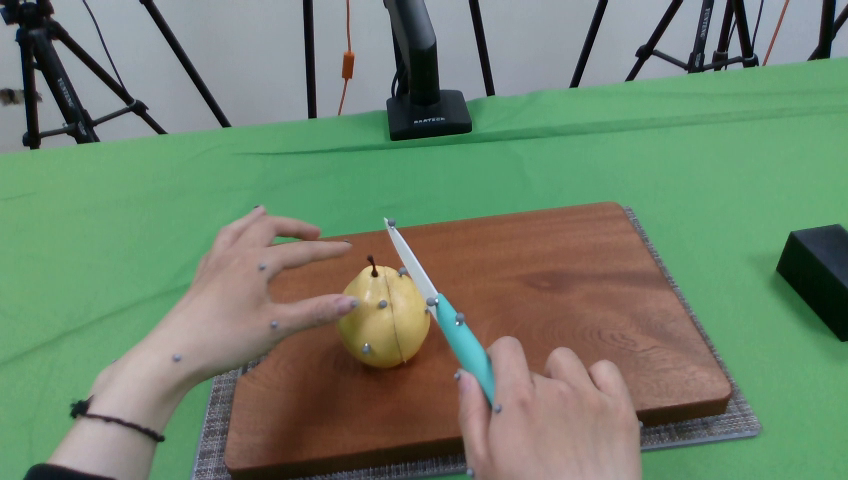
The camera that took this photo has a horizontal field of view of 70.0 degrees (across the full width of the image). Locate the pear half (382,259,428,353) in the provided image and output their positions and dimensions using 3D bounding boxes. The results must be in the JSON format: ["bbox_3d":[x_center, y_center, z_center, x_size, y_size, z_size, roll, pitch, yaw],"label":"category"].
[{"bbox_3d":[-0.014,0.052,0.507,0.031,0.089,0.069,-11,34,-5],"label":"pear half"}]

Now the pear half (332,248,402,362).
[{"bbox_3d":[-0.050,0.050,0.498,0.056,0.111,0.075,-10,37,-5],"label":"pear half"}]

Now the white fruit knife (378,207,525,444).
[{"bbox_3d":[0.010,0.045,0.417,0.016,0.027,0.205,-13,49,-27],"label":"white fruit knife"}]
